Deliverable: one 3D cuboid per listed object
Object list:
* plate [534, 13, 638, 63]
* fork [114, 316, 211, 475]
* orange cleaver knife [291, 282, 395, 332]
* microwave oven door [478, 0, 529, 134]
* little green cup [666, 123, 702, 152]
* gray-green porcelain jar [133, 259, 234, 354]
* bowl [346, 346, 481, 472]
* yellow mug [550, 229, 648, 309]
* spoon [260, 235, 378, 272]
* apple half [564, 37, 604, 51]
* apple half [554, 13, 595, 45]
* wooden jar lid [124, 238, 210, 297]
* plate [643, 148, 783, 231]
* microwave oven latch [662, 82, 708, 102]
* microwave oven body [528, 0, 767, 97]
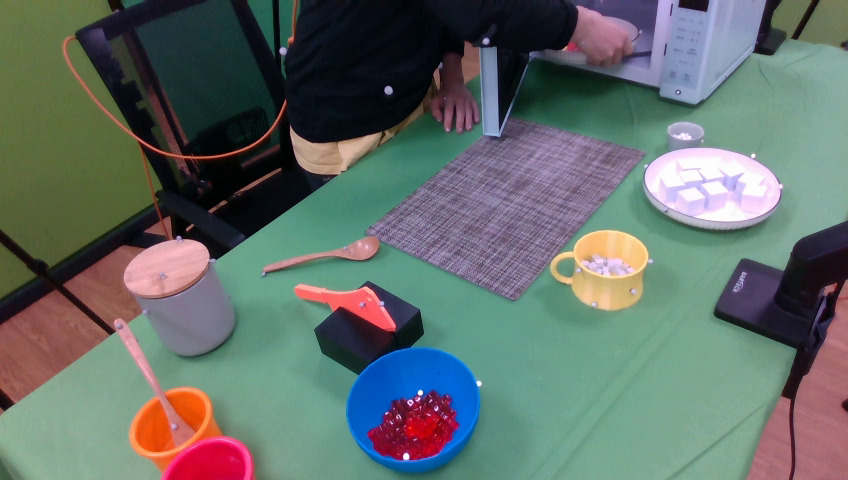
[{"bbox_3d":[0.333,-0.415,1.253,0.209,0.038,0.208,-5,39,4],"label":"plate"},{"bbox_3d":[-0.309,0.180,0.708,0.028,0.018,0.207,-29,89,-25],"label":"fork"},{"bbox_3d":[-0.116,0.091,0.835,0.209,0.077,0.012,1,32,47],"label":"orange cleaver knife"},{"bbox_3d":[0.168,-0.413,1.230,0.039,0.245,0.355,8,43,16],"label":"microwave oven door"},{"bbox_3d":[0.472,-0.183,1.103,0.061,0.039,0.061,-6,39,5],"label":"little green cup"},{"bbox_3d":[-0.328,0.087,0.836,0.106,0.127,0.105,-4,41,4],"label":"gray-green porcelain jar"},{"bbox_3d":[-0.008,0.205,0.691,0.151,0.077,0.150,-4,40,4],"label":"bowl"},{"bbox_3d":[0.245,0.040,0.856,0.130,0.064,0.099,1,42,11],"label":"yellow mug"},{"bbox_3d":[-0.168,0.024,0.966,0.194,0.022,0.041,-10,58,-3],"label":"spoon"},{"bbox_3d":[0.319,-0.391,1.214,0.081,0.033,0.081,-4,36,3],"label":"apple half"},{"bbox_3d":[0.316,-0.448,1.270,0.081,0.053,0.074,-37,45,-29],"label":"apple half"},{"bbox_3d":[-0.335,0.039,0.794,0.108,0.021,0.108,-2,40,2],"label":"wooden jar lid"},{"bbox_3d":[0.464,-0.080,0.986,0.207,0.039,0.206,-4,40,4],"label":"plate"},{"bbox_3d":[0.518,-0.298,1.202,0.078,0.029,0.030,28,53,35],"label":"microwave oven latch"},{"bbox_3d":[0.473,-0.516,1.313,0.438,0.261,0.327,26,51,34],"label":"microwave oven body"}]
